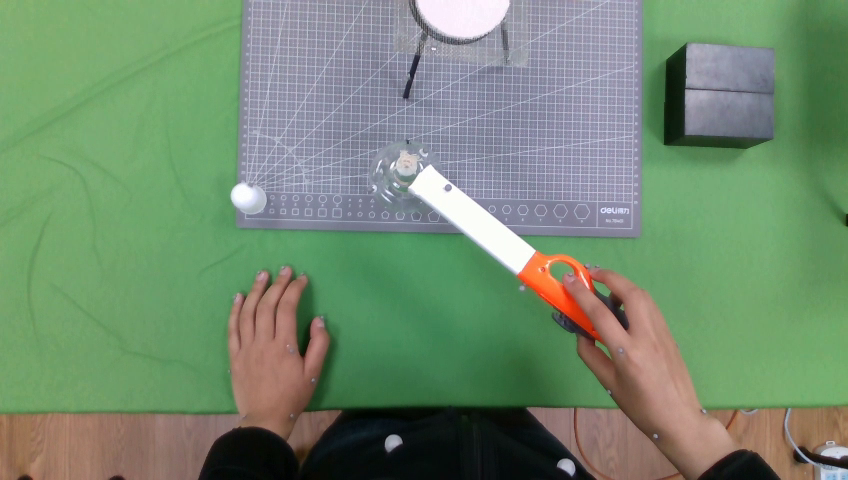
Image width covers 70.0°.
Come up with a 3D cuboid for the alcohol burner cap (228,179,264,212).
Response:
[{"bbox_3d":[-0.190,-0.049,0.638,0.034,0.048,0.034,0,85,-5],"label":"alcohol burner cap"}]

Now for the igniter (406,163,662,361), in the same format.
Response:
[{"bbox_3d":[0.102,0.024,0.558,0.276,0.025,0.057,37,84,-1],"label":"igniter"}]

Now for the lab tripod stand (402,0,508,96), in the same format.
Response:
[{"bbox_3d":[0.024,-0.223,0.615,0.148,0.131,0.148,0,86,-2],"label":"lab tripod stand"}]

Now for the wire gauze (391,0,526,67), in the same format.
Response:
[{"bbox_3d":[0.034,-0.223,0.548,0.125,0.011,0.121,4,87,-3],"label":"wire gauze"}]

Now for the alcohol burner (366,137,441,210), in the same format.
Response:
[{"bbox_3d":[-0.021,-0.070,0.616,0.078,0.119,0.078,0,88,-2],"label":"alcohol burner"}]
